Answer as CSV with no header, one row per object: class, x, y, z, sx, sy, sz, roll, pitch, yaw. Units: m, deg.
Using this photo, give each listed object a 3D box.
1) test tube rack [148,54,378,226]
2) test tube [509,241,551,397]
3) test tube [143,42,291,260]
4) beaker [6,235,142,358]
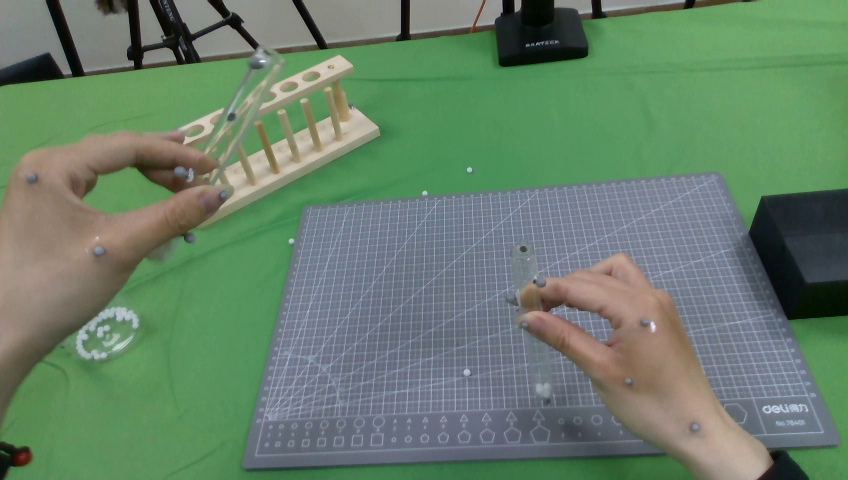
test tube rack,-0.179,-0.121,0.706,0.242,0.086,0.066,-31,50,-18
test tube,0.074,0.060,0.413,0.017,0.152,0.017,-9,40,8
test tube,-0.117,-0.043,0.332,0.151,0.017,0.017,-49,44,22
beaker,-0.313,0.054,0.559,0.073,0.101,0.083,17,52,23
